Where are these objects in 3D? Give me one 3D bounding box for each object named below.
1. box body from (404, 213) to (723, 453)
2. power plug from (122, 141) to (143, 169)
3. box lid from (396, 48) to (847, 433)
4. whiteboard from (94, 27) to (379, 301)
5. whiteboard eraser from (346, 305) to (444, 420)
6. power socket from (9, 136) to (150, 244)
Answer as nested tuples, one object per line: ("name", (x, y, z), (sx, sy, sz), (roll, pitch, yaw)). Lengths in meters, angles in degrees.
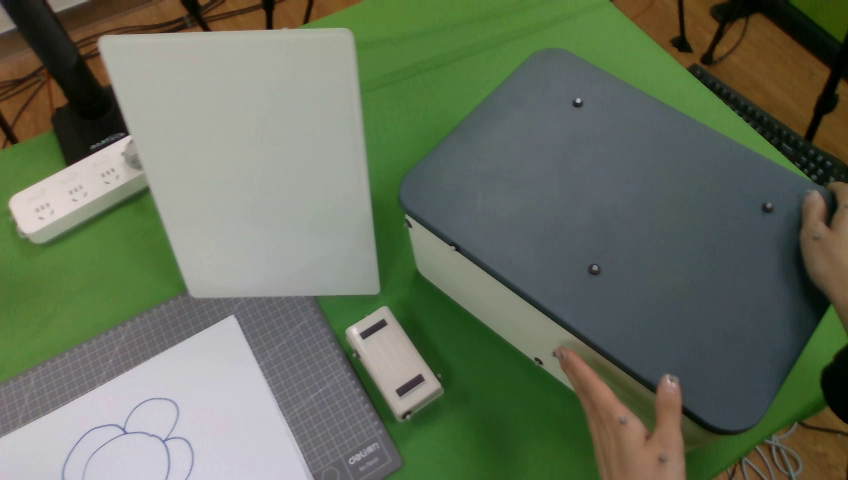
("box body", (0.186, 0.008, 0.623), (0.361, 0.162, 0.253), (36, 67, 20))
("power plug", (-0.349, -0.091, 0.749), (0.035, 0.053, 0.072), (-24, 68, -12))
("box lid", (0.182, -0.031, 0.560), (0.369, 0.015, 0.263), (36, 68, 20))
("whiteboard", (-0.161, -0.094, 0.648), (0.217, 0.308, 0.142), (0, 39, 2))
("whiteboard eraser", (-0.031, 0.127, 0.633), (0.055, 0.042, 0.111), (-30, 63, -16))
("power socket", (-0.407, -0.074, 0.766), (0.227, 0.033, 0.071), (-33, 65, -16))
